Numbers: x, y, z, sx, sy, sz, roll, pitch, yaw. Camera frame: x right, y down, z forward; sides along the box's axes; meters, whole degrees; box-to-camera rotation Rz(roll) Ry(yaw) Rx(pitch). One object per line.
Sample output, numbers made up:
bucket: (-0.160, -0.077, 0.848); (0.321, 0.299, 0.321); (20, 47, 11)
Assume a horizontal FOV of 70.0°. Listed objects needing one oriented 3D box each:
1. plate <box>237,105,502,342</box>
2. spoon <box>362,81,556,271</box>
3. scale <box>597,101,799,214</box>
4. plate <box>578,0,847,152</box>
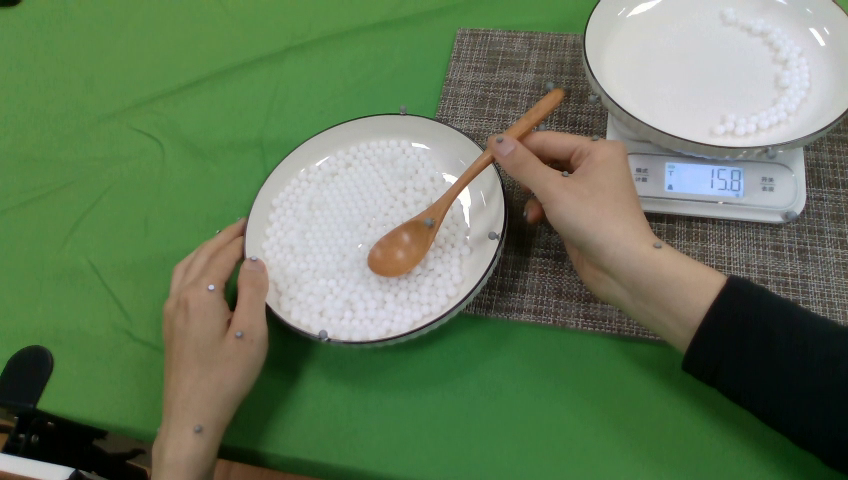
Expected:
plate: (-0.042, -0.015, 0.479); (0.209, 0.038, 0.207); (-4, 61, 7)
spoon: (0.028, -0.048, 0.450); (0.194, 0.022, 0.041); (-46, 53, 6)
scale: (0.224, -0.117, 0.502); (0.148, 0.032, 0.199); (6, 63, 11)
plate: (0.227, -0.150, 0.482); (0.207, 0.039, 0.206); (-3, 61, 5)
